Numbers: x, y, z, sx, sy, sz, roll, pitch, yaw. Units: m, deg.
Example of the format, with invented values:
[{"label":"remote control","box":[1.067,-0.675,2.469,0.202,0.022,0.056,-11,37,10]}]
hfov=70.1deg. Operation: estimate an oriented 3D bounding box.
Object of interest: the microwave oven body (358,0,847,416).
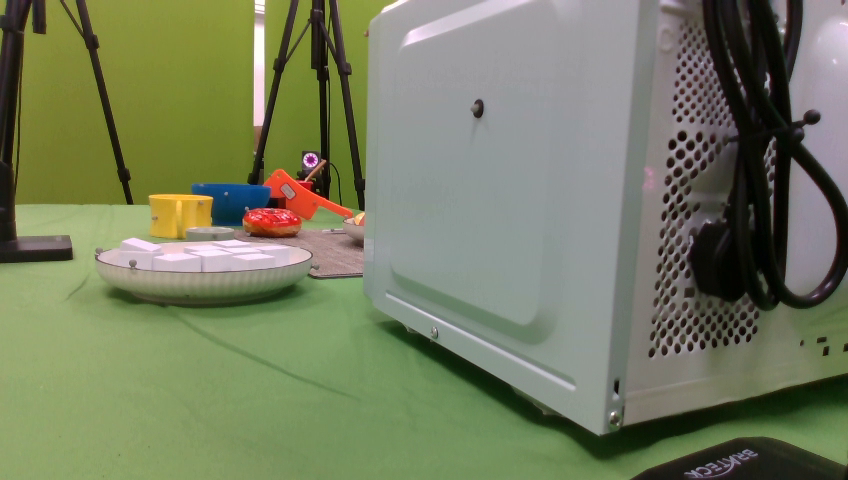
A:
[{"label":"microwave oven body","box":[0.211,-0.047,0.475,0.444,0.260,0.324,-1,8,-28]}]

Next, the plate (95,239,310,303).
[{"label":"plate","box":[-0.224,0.031,0.629,0.208,0.039,0.207,2,7,0]}]

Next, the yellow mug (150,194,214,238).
[{"label":"yellow mug","box":[-0.401,-0.039,1.003,0.100,0.064,0.130,0,9,-20]}]

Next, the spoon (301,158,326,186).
[{"label":"spoon","box":[-0.321,-0.161,1.646,0.041,0.022,0.194,7,53,34]}]

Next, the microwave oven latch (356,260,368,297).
[{"label":"microwave oven latch","box":[-0.019,0.033,0.530,0.079,0.029,0.030,-1,7,-26]}]

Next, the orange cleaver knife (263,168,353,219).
[{"label":"orange cleaver knife","box":[-0.262,-0.088,1.352,0.211,0.077,0.012,27,12,0]}]

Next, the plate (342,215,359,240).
[{"label":"plate","box":[-0.033,-0.014,1.005,0.209,0.038,0.209,2,8,0]}]

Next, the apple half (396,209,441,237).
[{"label":"apple half","box":[-0.008,-0.036,1.053,0.081,0.033,0.081,13,26,-6]}]

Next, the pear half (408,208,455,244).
[{"label":"pear half","box":[0.018,-0.026,1.000,0.076,0.056,0.110,10,8,19]}]

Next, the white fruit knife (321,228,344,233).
[{"label":"white fruit knife","box":[-0.097,-0.022,1.142,0.208,0.016,0.027,-4,-21,-32]}]

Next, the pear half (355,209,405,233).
[{"label":"pear half","box":[-0.075,-0.035,1.045,0.088,0.031,0.070,5,26,-7]}]

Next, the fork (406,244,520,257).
[{"label":"fork","box":[0.064,0.015,0.893,0.208,0.018,0.028,-3,0,-35]}]

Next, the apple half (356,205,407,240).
[{"label":"apple half","box":[-0.065,-0.028,0.970,0.081,0.053,0.074,3,8,-27]}]

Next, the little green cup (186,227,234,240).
[{"label":"little green cup","box":[-0.285,0.005,0.805,0.061,0.038,0.061,2,8,0]}]

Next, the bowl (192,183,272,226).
[{"label":"bowl","box":[-0.381,-0.071,1.202,0.151,0.077,0.151,3,7,0]}]

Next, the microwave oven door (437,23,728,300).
[{"label":"microwave oven door","box":[0.180,-0.072,0.621,0.358,0.243,0.039,-2,8,-29]}]

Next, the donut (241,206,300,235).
[{"label":"donut","box":[-0.263,-0.032,1.039,0.099,0.048,0.099,4,9,0]}]
